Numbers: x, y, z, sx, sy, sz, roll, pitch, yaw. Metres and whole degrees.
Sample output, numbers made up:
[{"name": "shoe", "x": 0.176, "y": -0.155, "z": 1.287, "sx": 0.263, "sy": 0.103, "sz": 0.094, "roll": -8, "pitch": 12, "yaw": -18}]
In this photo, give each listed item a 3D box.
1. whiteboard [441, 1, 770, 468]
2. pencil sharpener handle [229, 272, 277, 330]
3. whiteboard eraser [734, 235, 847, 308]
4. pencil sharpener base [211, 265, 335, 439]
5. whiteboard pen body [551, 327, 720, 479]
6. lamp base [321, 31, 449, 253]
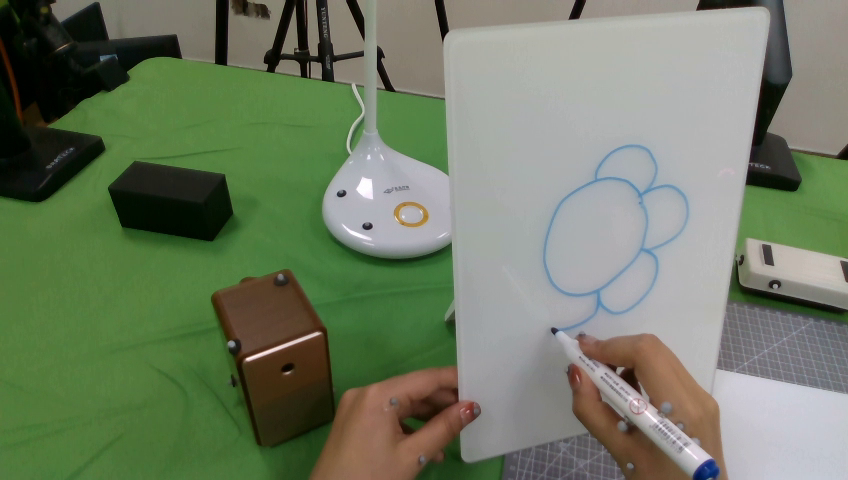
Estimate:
[{"name": "whiteboard", "x": 0.106, "y": -0.015, "z": 0.470, "sx": 0.218, "sy": 0.307, "sz": 0.142, "roll": -9, "pitch": 23, "yaw": -13}, {"name": "pencil sharpener handle", "x": -0.134, "y": 0.043, "z": 0.476, "sx": 0.036, "sy": 0.068, "sz": 0.030, "roll": -25, "pitch": 48, "yaw": -17}, {"name": "whiteboard eraser", "x": 0.364, "y": 0.032, "z": 0.592, "sx": 0.112, "sy": 0.042, "sz": 0.055, "roll": 12, "pitch": 40, "yaw": 11}, {"name": "pencil sharpener base", "x": -0.111, "y": 0.083, "z": 0.451, "sx": 0.061, "sy": 0.108, "sz": 0.076, "roll": -19, "pitch": 46, "yaw": -23}, {"name": "whiteboard pen body", "x": 0.119, "y": 0.091, "z": 0.367, "sx": 0.017, "sy": 0.017, "sz": 0.139, "roll": -16, "pitch": 33, "yaw": -21}, {"name": "lamp base", "x": -0.036, "y": -0.106, "z": 0.616, "sx": 0.161, "sy": 0.182, "sz": 0.177, "roll": -23, "pitch": 45, "yaw": -27}]
